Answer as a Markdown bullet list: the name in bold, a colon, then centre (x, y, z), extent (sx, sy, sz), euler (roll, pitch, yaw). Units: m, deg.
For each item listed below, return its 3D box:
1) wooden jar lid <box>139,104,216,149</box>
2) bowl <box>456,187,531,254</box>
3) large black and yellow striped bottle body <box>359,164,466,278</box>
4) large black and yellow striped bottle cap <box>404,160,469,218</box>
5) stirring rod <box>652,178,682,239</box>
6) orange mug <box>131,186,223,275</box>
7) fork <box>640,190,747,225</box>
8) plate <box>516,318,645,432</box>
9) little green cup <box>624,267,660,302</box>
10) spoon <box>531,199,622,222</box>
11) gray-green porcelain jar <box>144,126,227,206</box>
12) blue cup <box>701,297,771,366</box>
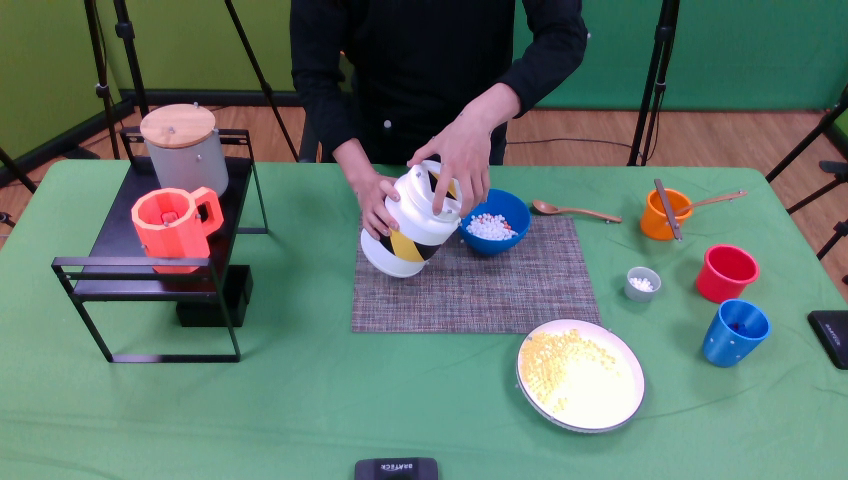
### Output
- **wooden jar lid**: centre (-0.372, -0.169, 0.920), extent (0.108, 0.021, 0.107), euler (4, 44, -4)
- **bowl**: centre (0.129, -0.025, 1.187), extent (0.151, 0.077, 0.150), euler (2, 46, -2)
- **large black and yellow striped bottle body**: centre (-0.019, -0.034, 1.047), extent (0.131, 0.184, 0.130), euler (20, 44, -21)
- **large black and yellow striped bottle cap**: centre (0.022, -0.085, 0.996), extent (0.115, 0.019, 0.114), euler (22, 42, -22)
- **stirring rod**: centre (0.481, -0.065, 1.204), extent (0.014, 0.006, 0.175), euler (2, 46, -1)
- **orange mug**: centre (-0.354, -0.023, 0.887), extent (0.083, 0.101, 0.126), euler (31, 56, 24)
- **fork**: centre (0.533, -0.064, 1.211), extent (0.207, 0.019, 0.028), euler (-22, 28, 39)
- **plate**: centre (0.253, 0.221, 0.992), extent (0.209, 0.038, 0.208), euler (2, 46, -2)
- **little green cup**: centre (0.406, 0.084, 1.135), extent (0.061, 0.039, 0.061), euler (3, 45, -3)
- **spoon**: centre (0.322, -0.060, 1.279), extent (0.194, 0.022, 0.041), euler (8, 32, 5)
- **gray-green porcelain jar**: centre (-0.375, -0.125, 0.967), extent (0.106, 0.127, 0.105), euler (2, 46, -2)
- **blue cup**: centre (0.519, 0.162, 1.025), extent (0.093, 0.101, 0.092), euler (3, 45, -3)
